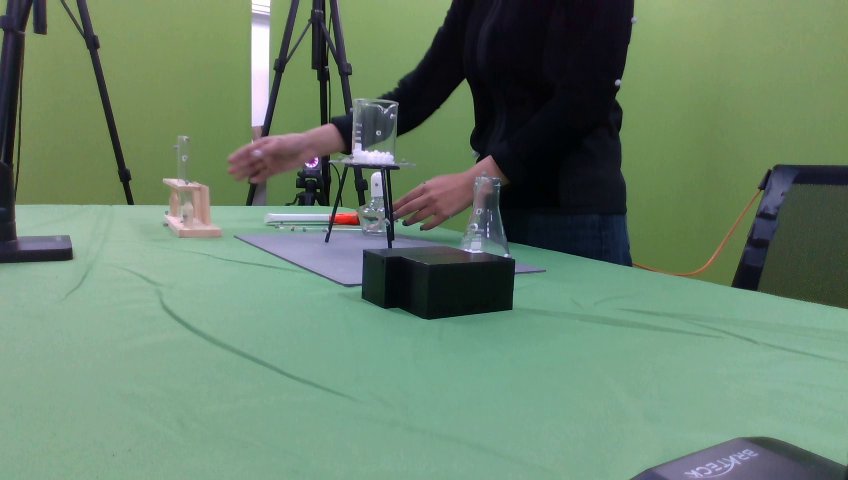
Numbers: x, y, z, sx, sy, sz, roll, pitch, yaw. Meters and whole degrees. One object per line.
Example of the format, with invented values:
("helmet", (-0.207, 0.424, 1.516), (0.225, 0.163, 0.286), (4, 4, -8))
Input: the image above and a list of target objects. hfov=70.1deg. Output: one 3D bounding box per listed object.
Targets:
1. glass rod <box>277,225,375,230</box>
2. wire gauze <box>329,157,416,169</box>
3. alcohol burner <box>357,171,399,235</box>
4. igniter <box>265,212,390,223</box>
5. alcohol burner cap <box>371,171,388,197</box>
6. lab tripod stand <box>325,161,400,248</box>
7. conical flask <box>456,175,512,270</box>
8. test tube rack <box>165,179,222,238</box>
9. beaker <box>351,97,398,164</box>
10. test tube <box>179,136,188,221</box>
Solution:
("glass rod", (-0.187, -0.024, 1.178), (0.201, 0.008, 0.008), (1, 6, -31))
("wire gauze", (-0.079, -0.125, 0.972), (0.121, 0.011, 0.125), (6, 6, 5))
("alcohol burner", (-0.085, -0.069, 1.126), (0.078, 0.119, 0.078), (3, 10, 0))
("igniter", (-0.196, -0.048, 1.285), (0.278, 0.025, 0.057), (-2, -2, -30))
("alcohol burner cap", (-0.085, -0.104, 1.121), (0.034, 0.048, 0.034), (-5, 8, 1))
("lab tripod stand", (-0.083, -0.059, 0.977), (0.148, 0.131, 0.148), (4, 8, 0))
("conical flask", (0.083, -0.025, 0.801), (0.075, 0.122, 0.075), (2, 7, 0))
("test tube rack", (-0.423, -0.062, 1.098), (0.067, 0.085, 0.241), (-2, 9, -28))
("beaker", (-0.078, -0.172, 0.962), (0.074, 0.100, 0.084), (6, 8, 18))
("test tube", (-0.425, -0.108, 1.070), (0.017, 0.150, 0.017), (4, 9, 0))
